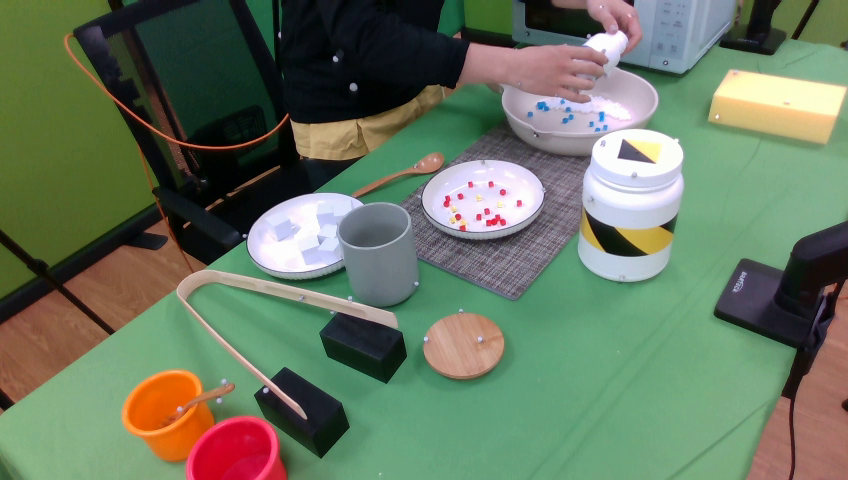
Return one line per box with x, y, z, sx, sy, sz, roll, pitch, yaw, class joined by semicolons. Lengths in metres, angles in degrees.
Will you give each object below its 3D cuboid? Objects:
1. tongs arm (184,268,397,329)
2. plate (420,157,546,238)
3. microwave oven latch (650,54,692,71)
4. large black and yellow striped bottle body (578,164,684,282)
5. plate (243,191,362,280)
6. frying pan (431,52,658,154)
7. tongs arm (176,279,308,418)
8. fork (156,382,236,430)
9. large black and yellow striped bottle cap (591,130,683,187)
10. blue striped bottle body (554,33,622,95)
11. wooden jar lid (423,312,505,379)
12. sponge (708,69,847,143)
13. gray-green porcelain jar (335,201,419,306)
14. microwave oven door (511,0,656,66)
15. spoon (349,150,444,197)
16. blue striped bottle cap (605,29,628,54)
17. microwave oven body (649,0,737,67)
-0.202;0.084;0.848;0.382;0.027;0.051;11;44;35;tongs arm
0.099;-0.067;1.017;0.209;0.038;0.208;-4;40;4;plate
0.530;-0.386;1.301;0.078;0.029;0.030;24;50;32;microwave oven latch
0.292;-0.046;0.859;0.131;0.185;0.130;-4;41;4;large black and yellow striped bottle body
-0.188;-0.005;0.992;0.207;0.039;0.206;-4;40;3;plate
0.216;-0.302;1.223;0.484;0.103;0.308;29;50;24;frying pan
-0.255;0.132;0.801;0.028;0.028;0.384;-41;40;-23;tongs arm
-0.262;0.189;0.690;0.018;0.206;0.028;48;43;-7;fork
0.282;-0.111;0.803;0.115;0.019;0.114;-3;41;3;large black and yellow striped bottle cap
0.281;-0.302;1.016;0.121;0.063;0.062;-39;49;-15;blue striped bottle body
0.053;0.142;0.800;0.108;0.021;0.108;-5;39;4;wooden jar lid
0.663;-0.256;1.142;0.205;0.061;0.118;18;47;28;sponge
-0.064;0.024;0.872;0.106;0.127;0.105;-4;41;4;gray-green porcelain jar
0.351;-0.540;1.349;0.353;0.245;0.039;24;50;31;microwave oven door
-0.051;-0.123;1.120;0.194;0.022;0.041;-22;61;-18;spoon
0.325;-0.339;1.032;0.044;0.045;0.020;31;88;36;blue striped bottle cap
0.475;-0.602;1.411;0.438;0.261;0.327;23;50;32;microwave oven body
